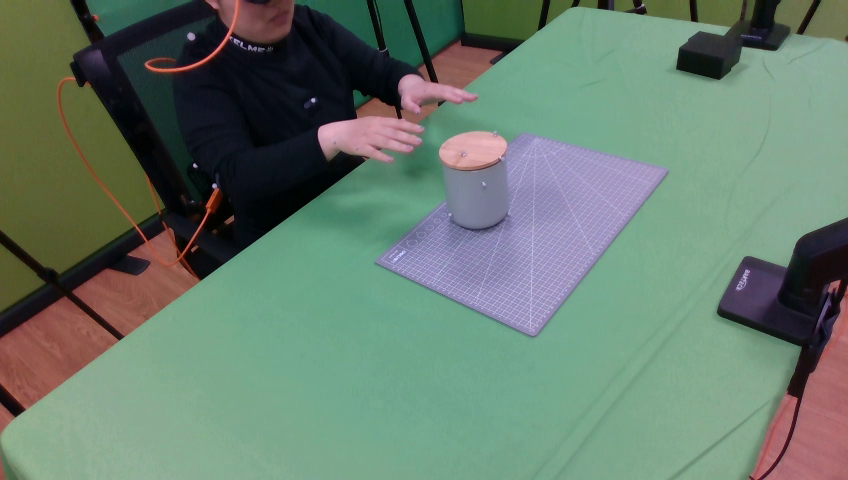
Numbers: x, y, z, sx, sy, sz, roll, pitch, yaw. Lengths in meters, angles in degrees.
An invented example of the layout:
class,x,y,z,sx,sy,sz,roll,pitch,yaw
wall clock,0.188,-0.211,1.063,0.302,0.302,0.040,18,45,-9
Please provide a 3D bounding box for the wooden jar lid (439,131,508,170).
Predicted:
class,x,y,z,sx,sy,sz,roll,pitch,yaw
wooden jar lid,0.078,-0.136,0.948,0.108,0.021,0.108,-5,38,5

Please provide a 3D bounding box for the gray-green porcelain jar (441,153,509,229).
class,x,y,z,sx,sy,sz,roll,pitch,yaw
gray-green porcelain jar,0.086,-0.090,0.988,0.106,0.127,0.105,-5,40,5
